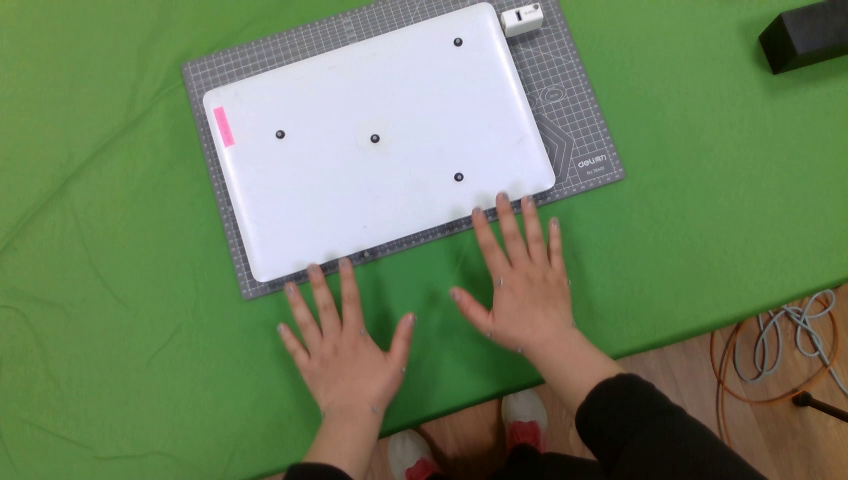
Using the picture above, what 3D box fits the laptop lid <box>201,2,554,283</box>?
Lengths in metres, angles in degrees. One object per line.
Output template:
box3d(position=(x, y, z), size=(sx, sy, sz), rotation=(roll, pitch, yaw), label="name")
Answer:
box3d(position=(-0.056, -0.114, 0.680), size=(0.357, 0.013, 0.240), rotation=(-17, 82, 0), label="laptop lid")

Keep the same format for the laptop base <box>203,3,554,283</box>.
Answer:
box3d(position=(-0.056, -0.114, 0.692), size=(0.354, 0.023, 0.234), rotation=(-19, 83, -1), label="laptop base")

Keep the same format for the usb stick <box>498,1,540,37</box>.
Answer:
box3d(position=(0.102, -0.252, 0.696), size=(0.059, 0.027, 0.021), rotation=(-17, 80, 2), label="usb stick")
